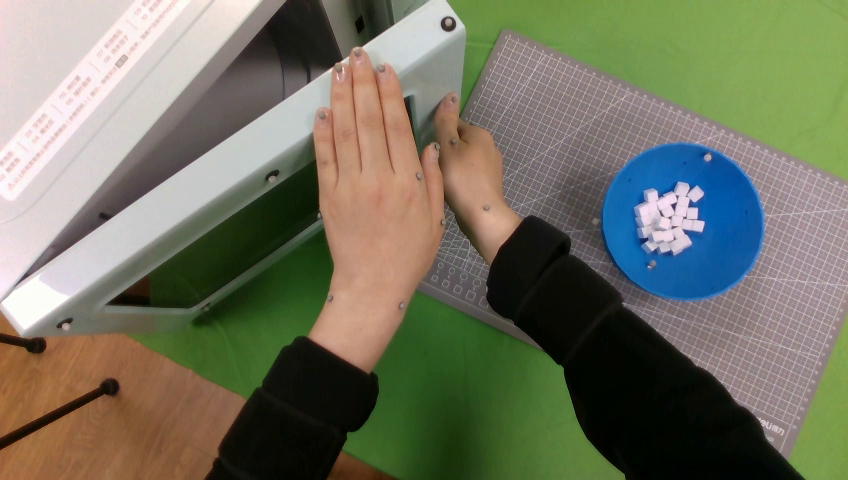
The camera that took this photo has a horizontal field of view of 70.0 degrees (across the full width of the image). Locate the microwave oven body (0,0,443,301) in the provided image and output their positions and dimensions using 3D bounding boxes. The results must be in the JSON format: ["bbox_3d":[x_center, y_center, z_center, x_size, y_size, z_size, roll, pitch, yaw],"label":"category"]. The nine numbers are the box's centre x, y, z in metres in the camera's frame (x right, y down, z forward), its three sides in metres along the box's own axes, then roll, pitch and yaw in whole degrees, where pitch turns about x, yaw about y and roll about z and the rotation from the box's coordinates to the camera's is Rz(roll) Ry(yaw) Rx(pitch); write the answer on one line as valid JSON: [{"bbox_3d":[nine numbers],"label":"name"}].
[{"bbox_3d":[-0.238,-0.197,0.535,0.325,0.260,0.441,39,87,4],"label":"microwave oven body"}]

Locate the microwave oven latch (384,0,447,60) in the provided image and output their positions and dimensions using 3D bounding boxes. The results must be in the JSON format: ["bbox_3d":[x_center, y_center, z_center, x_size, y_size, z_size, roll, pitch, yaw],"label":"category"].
[{"bbox_3d":[-0.009,-0.229,0.632,0.030,0.029,0.079,41,87,4],"label":"microwave oven latch"}]

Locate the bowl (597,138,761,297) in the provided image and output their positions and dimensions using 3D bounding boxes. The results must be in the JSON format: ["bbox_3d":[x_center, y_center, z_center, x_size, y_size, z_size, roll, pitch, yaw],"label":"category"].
[{"bbox_3d":[0.240,-0.017,0.602,0.151,0.077,0.151,0,84,1],"label":"bowl"}]

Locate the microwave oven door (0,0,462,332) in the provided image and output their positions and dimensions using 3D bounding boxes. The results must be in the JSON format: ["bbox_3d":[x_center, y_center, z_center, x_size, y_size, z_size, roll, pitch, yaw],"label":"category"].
[{"bbox_3d":[-0.123,-0.041,0.512,0.356,0.244,0.039,-36,84,-3],"label":"microwave oven door"}]
